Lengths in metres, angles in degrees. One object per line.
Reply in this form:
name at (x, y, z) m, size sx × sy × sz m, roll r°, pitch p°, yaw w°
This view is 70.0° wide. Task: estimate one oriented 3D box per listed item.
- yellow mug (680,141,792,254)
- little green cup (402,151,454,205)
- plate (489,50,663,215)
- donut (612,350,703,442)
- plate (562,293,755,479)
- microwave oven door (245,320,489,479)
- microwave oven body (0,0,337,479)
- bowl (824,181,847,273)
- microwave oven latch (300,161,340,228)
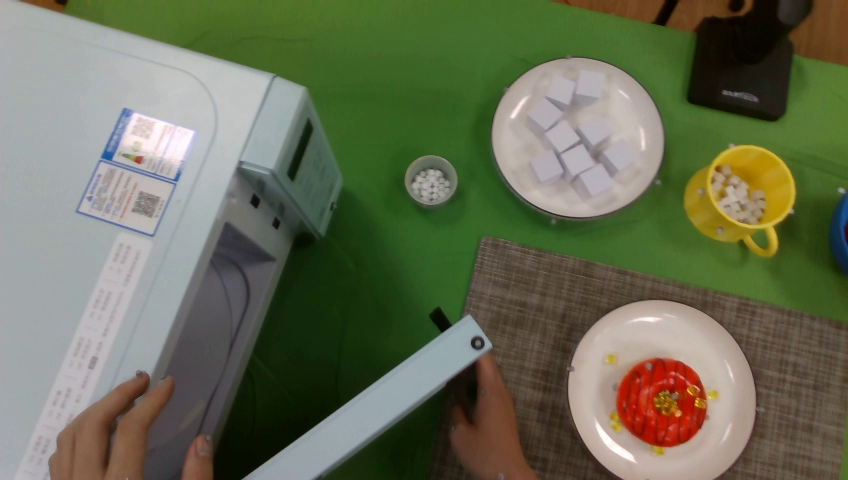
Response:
yellow mug at (0.370, -0.045, 0.708) m, size 0.100 × 0.064 × 0.130 m, roll -23°, pitch 80°, yaw -5°
little green cup at (0.005, -0.071, 0.724) m, size 0.061 × 0.039 × 0.061 m, roll 0°, pitch 80°, yaw 0°
plate at (0.182, -0.128, 0.738) m, size 0.208 × 0.039 × 0.206 m, roll 0°, pitch 78°, yaw 0°
donut at (0.254, 0.170, 0.662) m, size 0.099 × 0.048 × 0.098 m, roll 0°, pitch 81°, yaw 1°
plate at (0.255, 0.164, 0.674) m, size 0.209 × 0.038 × 0.208 m, roll 0°, pitch 79°, yaw 0°
microwave oven door at (-0.101, 0.190, 0.549) m, size 0.356 × 0.245 × 0.039 m, roll -35°, pitch 79°, yaw -7°
microwave oven body at (-0.315, 0.047, 0.582) m, size 0.326 × 0.261 × 0.440 m, roll 17°, pitch 79°, yaw 3°
bowl at (0.524, -0.008, 0.695) m, size 0.151 × 0.077 × 0.150 m, roll 0°, pitch 79°, yaw 0°
microwave oven latch at (-0.121, -0.056, 0.702) m, size 0.030 × 0.029 × 0.079 m, roll 19°, pitch 80°, yaw 3°
